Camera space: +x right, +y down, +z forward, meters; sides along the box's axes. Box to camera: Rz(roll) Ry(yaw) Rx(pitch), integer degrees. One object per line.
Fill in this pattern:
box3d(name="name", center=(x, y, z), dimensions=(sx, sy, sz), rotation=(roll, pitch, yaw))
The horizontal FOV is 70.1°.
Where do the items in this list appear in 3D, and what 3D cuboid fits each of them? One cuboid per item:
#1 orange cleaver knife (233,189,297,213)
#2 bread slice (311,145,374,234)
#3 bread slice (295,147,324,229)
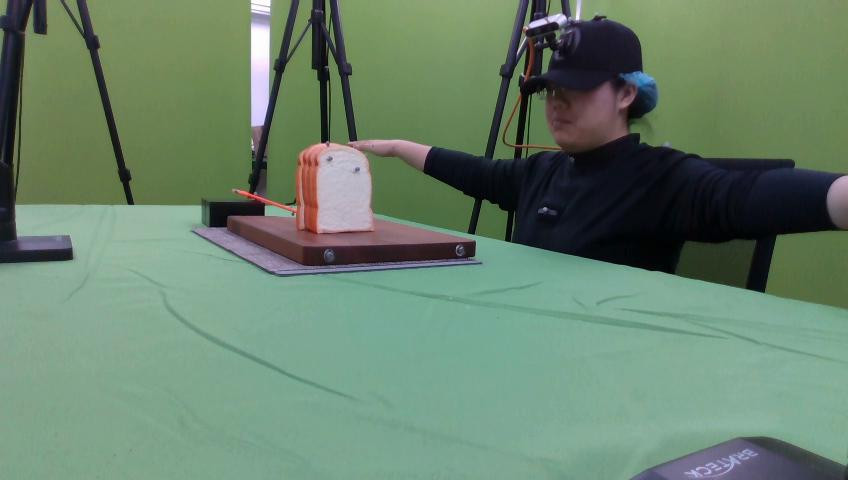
box3d(name="orange cleaver knife", center=(-0.279, -0.066, 1.219), dimensions=(0.212, 0.012, 0.077), rotation=(19, -4, -21))
box3d(name="bread slice", center=(-0.127, -0.076, 0.919), dimensions=(0.107, 0.134, 0.018), rotation=(-8, 8, -41))
box3d(name="bread slice", center=(-0.157, -0.082, 0.959), dimensions=(0.105, 0.131, 0.019), rotation=(-1, -2, -43))
